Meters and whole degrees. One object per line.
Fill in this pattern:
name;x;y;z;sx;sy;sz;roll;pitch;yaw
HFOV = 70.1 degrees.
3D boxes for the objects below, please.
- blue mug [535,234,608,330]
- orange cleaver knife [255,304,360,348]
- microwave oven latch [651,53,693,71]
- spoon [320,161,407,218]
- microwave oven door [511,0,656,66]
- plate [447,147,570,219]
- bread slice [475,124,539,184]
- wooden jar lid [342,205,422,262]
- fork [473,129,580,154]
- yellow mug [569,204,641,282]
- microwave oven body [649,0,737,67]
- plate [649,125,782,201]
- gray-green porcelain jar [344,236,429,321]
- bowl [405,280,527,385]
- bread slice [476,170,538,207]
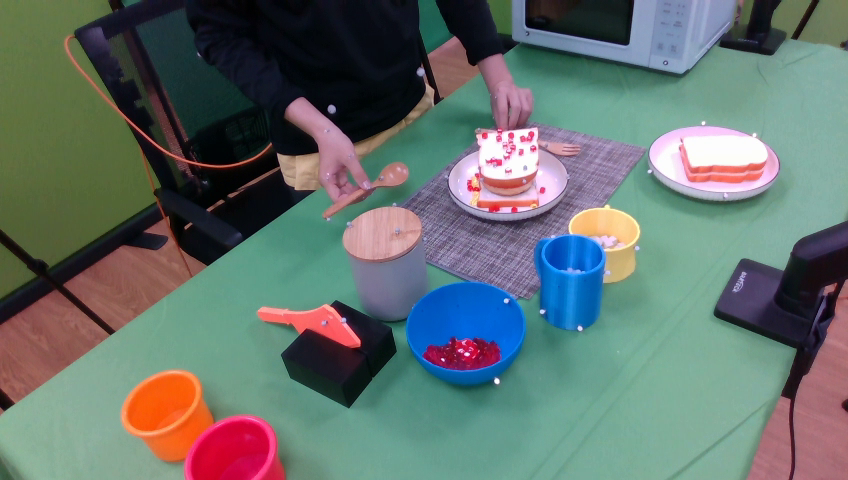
blue mug;0.191;0.048;0.824;0.082;0.106;0.115;-26;44;-21
orange cleaver knife;-0.161;0.115;0.813;0.210;0.077;0.012;-5;32;46
microwave oven latch;0.532;-0.386;1.301;0.078;0.029;0.030;27;52;34
spoon;-0.095;-0.083;0.970;0.041;0.021;0.194;47;46;8
microwave oven door;0.351;-0.539;1.349;0.353;0.245;0.039;24;50;31
plate;0.145;-0.098;1.046;0.209;0.038;0.208;-4;40;4
bread slice;0.143;-0.144;1.009;0.107;0.018;0.133;-7;46;7
wooden jar lid;-0.055;-0.006;0.808;0.108;0.021;0.108;-6;41;6
fork;0.193;-0.190;1.149;0.206;0.019;0.028;16;37;14
yellow mug;0.268;-0.005;0.904;0.099;0.064;0.130;7;41;15
microwave oven body;0.475;-0.602;1.411;0.438;0.261;0.327;23;50;32
plate;0.493;-0.128;1.036;0.207;0.039;0.206;-4;41;4
gray-green porcelain jar;-0.049;0.042;0.849;0.106;0.127;0.105;-4;41;4
bowl;0.055;0.131;0.767;0.151;0.077;0.150;-4;40;4
bread slice;0.144;-0.104;1.058;0.105;0.019;0.131;0;43;5
